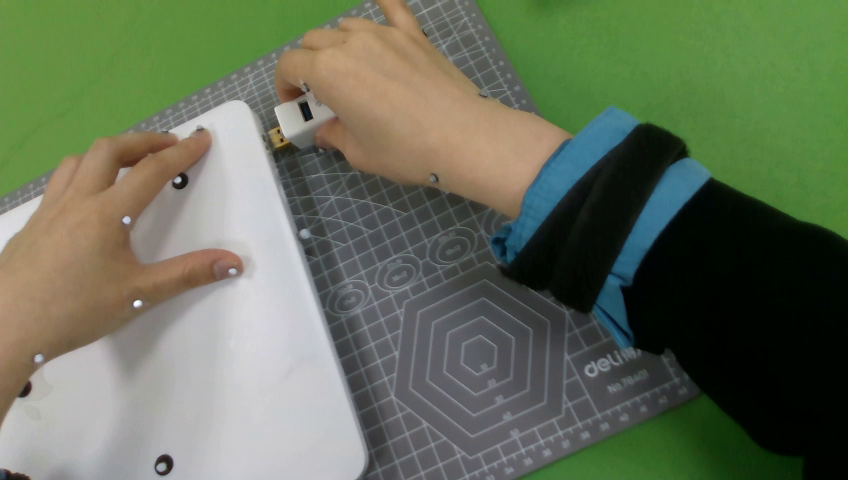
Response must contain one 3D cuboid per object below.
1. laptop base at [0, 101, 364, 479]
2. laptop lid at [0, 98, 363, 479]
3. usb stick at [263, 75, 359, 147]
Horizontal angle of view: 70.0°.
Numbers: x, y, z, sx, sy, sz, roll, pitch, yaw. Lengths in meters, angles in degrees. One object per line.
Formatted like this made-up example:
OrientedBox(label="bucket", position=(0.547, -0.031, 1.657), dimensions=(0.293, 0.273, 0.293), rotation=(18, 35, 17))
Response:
OrientedBox(label="laptop base", position=(-0.225, 0.085, 0.357), dimensions=(0.354, 0.023, 0.234), rotation=(-25, 72, 5))
OrientedBox(label="laptop lid", position=(-0.227, 0.084, 0.345), dimensions=(0.356, 0.013, 0.240), rotation=(-23, 71, 6))
OrientedBox(label="usb stick", position=(-0.070, -0.073, 0.355), dimensions=(0.059, 0.027, 0.021), rotation=(-23, 82, 10))
